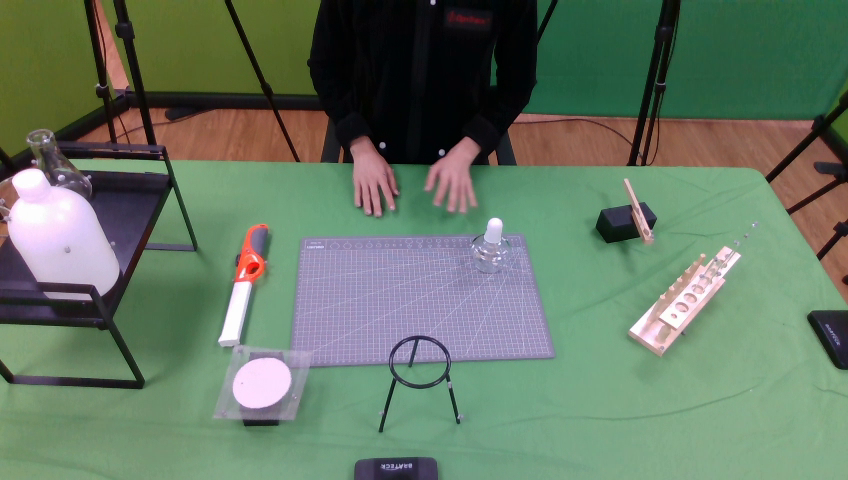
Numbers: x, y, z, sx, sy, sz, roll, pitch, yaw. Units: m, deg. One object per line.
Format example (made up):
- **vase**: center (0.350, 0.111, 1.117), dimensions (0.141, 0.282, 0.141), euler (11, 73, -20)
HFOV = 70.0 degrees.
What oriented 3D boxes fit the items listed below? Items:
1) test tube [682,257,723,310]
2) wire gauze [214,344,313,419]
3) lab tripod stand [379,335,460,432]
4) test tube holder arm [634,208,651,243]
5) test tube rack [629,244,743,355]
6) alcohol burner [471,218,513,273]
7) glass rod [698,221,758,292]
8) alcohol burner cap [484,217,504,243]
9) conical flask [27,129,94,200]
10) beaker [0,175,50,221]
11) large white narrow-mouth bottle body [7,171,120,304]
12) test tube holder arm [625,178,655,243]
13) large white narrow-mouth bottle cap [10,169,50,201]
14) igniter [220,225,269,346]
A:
- **test tube**: center (0.475, 0.080, 1.037), dimensions (0.017, 0.151, 0.017), euler (1, 50, -1)
- **wire gauze**: center (-0.241, 0.213, 0.916), dimensions (0.121, 0.011, 0.124), euler (5, 46, 1)
- **lab tripod stand**: center (-0.011, 0.214, 0.911), dimensions (0.148, 0.132, 0.147), euler (1, 45, 0)
- **test tube holder arm**: center (0.428, -0.030, 1.189), dimensions (0.010, 0.015, 0.087), euler (1, 47, -2)
- **test tube rack**: center (0.474, 0.095, 1.091), dimensions (0.242, 0.085, 0.066), euler (-34, 56, -31)
- **alcohol burner**: center (0.128, 0.005, 1.132), dimensions (0.078, 0.120, 0.077), euler (0, 47, 0)
- **glass rod**: center (0.527, 0.035, 1.059), dimensions (0.008, 0.200, 0.008), euler (5, 49, -6)
- **alcohol burner cap**: center (0.130, -0.021, 1.107), dimensions (0.034, 0.048, 0.033), euler (4, 40, -3)
- **conical flask**: center (-0.575, -0.113, 0.946), dimensions (0.075, 0.122, 0.075), euler (2, 46, -2)
- **beaker**: center (-0.569, -0.035, 0.886), dimensions (0.074, 0.101, 0.083), euler (-12, 48, -14)
- **large white narrow-mouth bottle body**: center (-0.482, -0.008, 0.800), dimensions (0.102, 0.195, 0.101), euler (2, 46, -2)
- **test tube holder arm**: center (0.433, -0.063, 1.220), dimensions (0.013, 0.015, 0.177), euler (1, 47, -3)
- **large white narrow-mouth bottle cap**: center (-0.479, -0.067, 0.738), dimensions (0.038, 0.024, 0.037), euler (2, 46, -2)
- **igniter**: center (-0.323, 0.072, 1.101), dimensions (0.057, 0.025, 0.275), euler (-5, 46, 5)
